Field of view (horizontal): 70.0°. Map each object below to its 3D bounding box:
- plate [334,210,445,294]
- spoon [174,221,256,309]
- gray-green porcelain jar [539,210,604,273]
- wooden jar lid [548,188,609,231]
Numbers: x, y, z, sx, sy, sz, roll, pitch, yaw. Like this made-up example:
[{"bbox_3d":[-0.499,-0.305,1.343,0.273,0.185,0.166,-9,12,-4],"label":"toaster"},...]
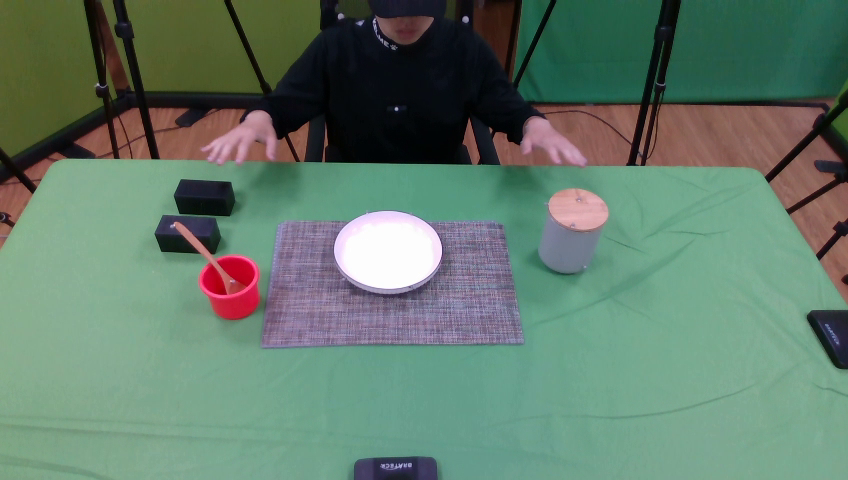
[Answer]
[{"bbox_3d":[-0.066,0.026,1.150,0.208,0.039,0.206,2,46,-2],"label":"plate"},{"bbox_3d":[-0.360,0.043,1.043,0.194,0.021,0.041,54,51,-14],"label":"spoon"},{"bbox_3d":[0.277,-0.007,1.151,0.106,0.127,0.105,2,46,-1],"label":"gray-green porcelain jar"},{"bbox_3d":[0.280,-0.052,1.105,0.108,0.021,0.107,0,48,0],"label":"wooden jar lid"}]
